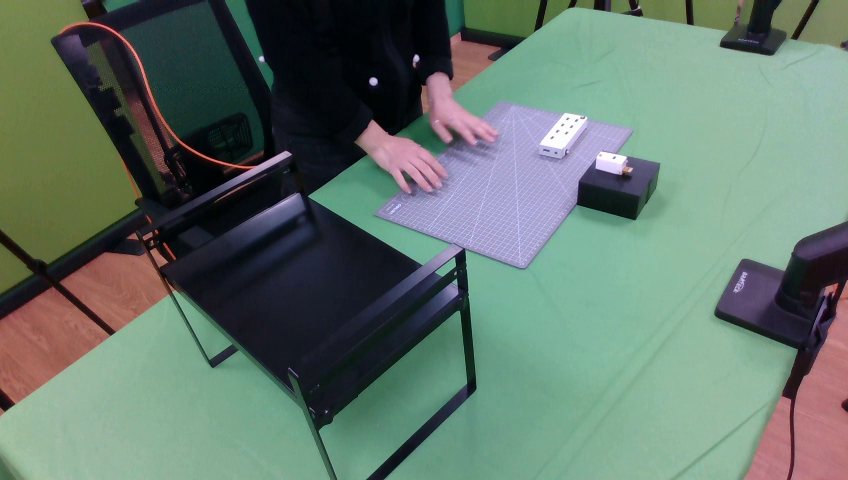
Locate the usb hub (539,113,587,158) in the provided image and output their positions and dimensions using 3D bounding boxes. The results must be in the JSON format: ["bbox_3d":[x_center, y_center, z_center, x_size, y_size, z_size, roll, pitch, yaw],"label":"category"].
[{"bbox_3d":[0.269,-0.202,1.164,0.049,0.025,0.125,19,47,27],"label":"usb hub"}]

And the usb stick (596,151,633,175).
[{"bbox_3d":[0.315,-0.125,0.994,0.059,0.027,0.021,23,48,27],"label":"usb stick"}]
